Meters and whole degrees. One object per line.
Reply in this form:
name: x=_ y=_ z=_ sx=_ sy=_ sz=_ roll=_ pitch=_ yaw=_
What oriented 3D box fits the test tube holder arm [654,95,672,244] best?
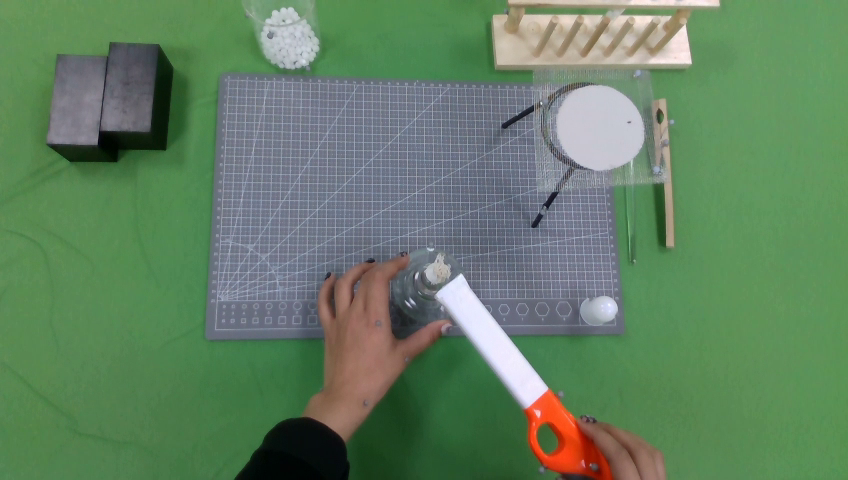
test tube holder arm: x=0.280 y=-0.084 z=0.711 sx=0.013 sy=0.015 sz=0.177 roll=-7 pitch=78 yaw=27

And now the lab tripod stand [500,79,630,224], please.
lab tripod stand: x=0.145 y=-0.101 z=0.640 sx=0.148 sy=0.132 sz=0.147 roll=1 pitch=78 yaw=-3

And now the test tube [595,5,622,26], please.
test tube: x=0.226 y=-0.280 z=0.662 sx=0.017 sy=0.150 sz=0.017 roll=3 pitch=77 yaw=-11

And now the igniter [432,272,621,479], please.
igniter: x=0.101 y=0.147 z=0.536 sx=0.057 sy=0.025 sz=0.276 roll=-37 pitch=88 yaw=-16

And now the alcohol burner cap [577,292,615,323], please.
alcohol burner cap: x=0.189 y=0.071 z=0.655 sx=0.034 sy=0.048 sz=0.033 roll=1 pitch=77 yaw=-6

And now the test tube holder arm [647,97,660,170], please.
test tube holder arm: x=0.275 y=-0.127 z=0.722 sx=0.010 sy=0.015 sz=0.087 roll=-7 pitch=78 yaw=27

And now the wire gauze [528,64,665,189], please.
wire gauze: x=0.161 y=-0.110 z=0.574 sx=0.121 sy=0.011 sz=0.124 roll=-2 pitch=78 yaw=-5

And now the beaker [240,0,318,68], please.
beaker: x=-0.156 y=-0.240 z=0.658 sx=0.084 sy=0.100 sz=0.073 roll=18 pitch=76 yaw=-1

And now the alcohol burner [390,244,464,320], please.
alcohol burner: x=0.005 y=0.039 z=0.606 sx=0.078 sy=0.119 sz=0.077 roll=1 pitch=75 yaw=-4

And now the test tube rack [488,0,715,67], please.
test tube rack: x=0.203 y=-0.253 z=0.705 sx=0.243 sy=0.085 sz=0.066 roll=-2 pitch=78 yaw=-6

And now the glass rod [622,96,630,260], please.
glass rod: x=0.237 y=-0.075 z=0.711 sx=0.008 sy=0.008 sz=0.199 roll=3 pitch=81 yaw=-5
